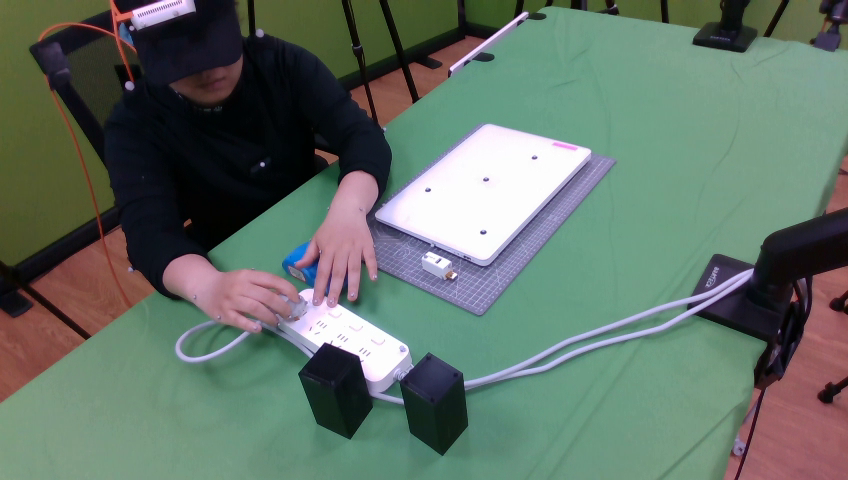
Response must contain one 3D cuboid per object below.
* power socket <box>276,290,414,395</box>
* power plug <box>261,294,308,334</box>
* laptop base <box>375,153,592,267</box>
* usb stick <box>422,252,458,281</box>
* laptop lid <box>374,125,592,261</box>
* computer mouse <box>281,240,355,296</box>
[{"bbox_3d":[-0.114,0.134,0.820,0.225,0.033,0.072,25,49,33],"label":"power socket"},{"bbox_3d":[-0.191,0.104,0.829,0.072,0.053,0.035,-45,48,-12],"label":"power plug"},{"bbox_3d":[0.112,-0.091,1.063,0.233,0.023,0.355,21,47,34],"label":"laptop base"},{"bbox_3d":[0.025,0.042,0.908,0.058,0.027,0.021,27,50,31],"label":"usb stick"},{"bbox_3d":[0.109,-0.101,1.057,0.239,0.013,0.358,23,48,34],"label":"laptop lid"},{"bbox_3d":[-0.165,0.040,0.934,0.116,0.041,0.063,30,48,29],"label":"computer mouse"}]
